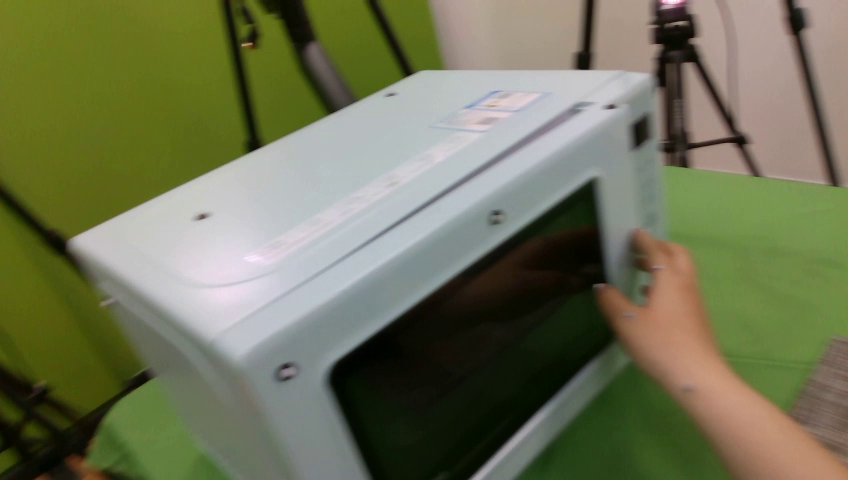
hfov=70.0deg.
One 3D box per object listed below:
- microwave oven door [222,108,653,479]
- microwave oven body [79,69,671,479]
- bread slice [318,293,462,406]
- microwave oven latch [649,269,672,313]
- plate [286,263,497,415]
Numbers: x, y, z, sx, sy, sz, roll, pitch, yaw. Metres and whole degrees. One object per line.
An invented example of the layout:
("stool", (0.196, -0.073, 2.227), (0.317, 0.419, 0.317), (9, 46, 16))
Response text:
("microwave oven door", (0.054, 0.077, 0.455), (0.356, 0.246, 0.039), (-33, 32, -30))
("microwave oven body", (-0.019, 0.032, 0.590), (0.441, 0.262, 0.323), (-35, 34, -32))
("bread slice", (-0.030, 0.097, 0.595), (0.131, 0.019, 0.104), (-31, 32, -23))
("microwave oven latch", (0.227, 0.058, 0.627), (0.079, 0.030, 0.030), (-34, 33, -30))
("plate", (-0.029, 0.094, 0.589), (0.209, 0.038, 0.207), (-13, 28, 7))
